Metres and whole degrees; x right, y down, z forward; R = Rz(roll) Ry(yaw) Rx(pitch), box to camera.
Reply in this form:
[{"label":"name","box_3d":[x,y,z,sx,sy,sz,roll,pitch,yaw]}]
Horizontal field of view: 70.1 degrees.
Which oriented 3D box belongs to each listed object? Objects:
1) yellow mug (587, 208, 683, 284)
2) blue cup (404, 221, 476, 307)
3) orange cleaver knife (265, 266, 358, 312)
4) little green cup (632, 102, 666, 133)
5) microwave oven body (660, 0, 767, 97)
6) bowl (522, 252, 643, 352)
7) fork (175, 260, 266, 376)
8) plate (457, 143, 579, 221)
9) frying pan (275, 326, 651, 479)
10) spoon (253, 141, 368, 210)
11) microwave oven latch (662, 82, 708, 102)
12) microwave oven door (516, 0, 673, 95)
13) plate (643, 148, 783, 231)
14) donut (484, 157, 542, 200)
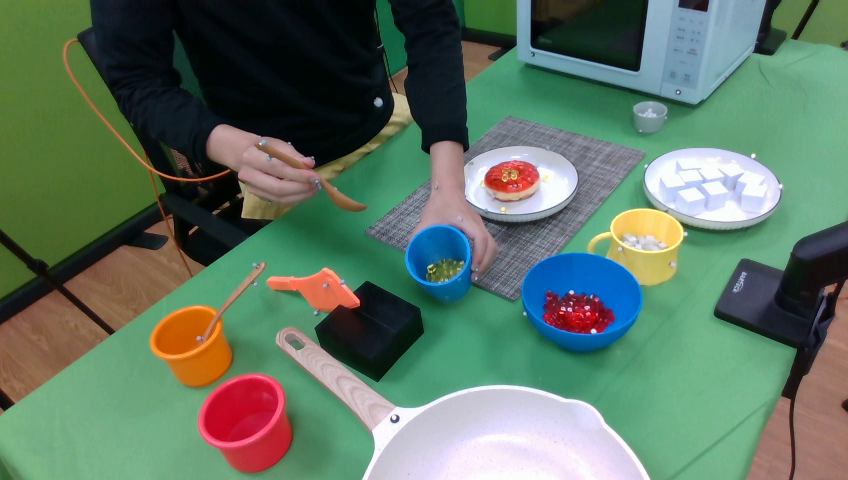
[{"label":"yellow mug","box_3d":[0.305,0.009,0.884,0.131,0.064,0.099,-4,41,5]},{"label":"blue cup","box_3d":[0.029,0.042,0.794,0.092,0.101,0.092,-8,58,13]},{"label":"orange cleaver knife","box_3d":[-0.164,0.073,0.864,0.210,0.077,0.012,-6,30,50]},{"label":"little green cup","box_3d":[0.434,-0.237,1.171,0.061,0.039,0.061,-5,40,5]},{"label":"microwave oven body","box_3d":[0.473,-0.517,1.313,0.438,0.261,0.327,26,51,34]},{"label":"bowl","box_3d":[0.204,0.093,0.792,0.151,0.077,0.150,-4,40,4]},{"label":"fork","box_3d":[-0.268,0.103,0.792,0.207,0.019,0.028,-51,39,16]},{"label":"plate","box_3d":[0.161,-0.097,1.042,0.209,0.038,0.208,-4,40,4]},{"label":"frying pan","box_3d":[0.004,0.229,0.641,0.484,0.103,0.308,34,54,28]},{"label":"spoon","box_3d":[-0.134,-0.076,0.735,0.041,0.195,0.021,7,72,36]},{"label":"microwave oven latch","box_3d":[0.518,-0.298,1.203,0.078,0.029,0.030,28,53,35]},{"label":"microwave oven door","box_3d":[0.344,-0.458,1.256,0.353,0.245,0.039,26,51,33]},{"label":"plate","box_3d":[0.464,-0.079,0.985,0.207,0.039,0.206,-4,40,4]},{"label":"donut","box_3d":[0.153,-0.107,1.039,0.099,0.048,0.098,-6,37,5]}]
